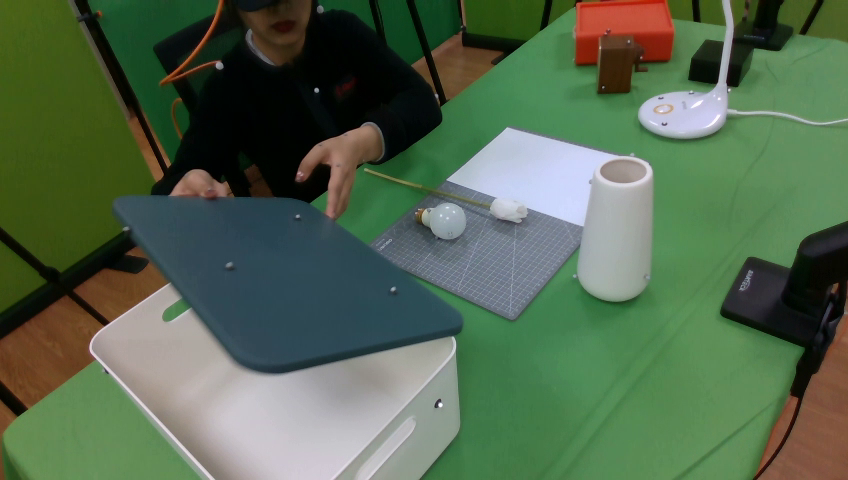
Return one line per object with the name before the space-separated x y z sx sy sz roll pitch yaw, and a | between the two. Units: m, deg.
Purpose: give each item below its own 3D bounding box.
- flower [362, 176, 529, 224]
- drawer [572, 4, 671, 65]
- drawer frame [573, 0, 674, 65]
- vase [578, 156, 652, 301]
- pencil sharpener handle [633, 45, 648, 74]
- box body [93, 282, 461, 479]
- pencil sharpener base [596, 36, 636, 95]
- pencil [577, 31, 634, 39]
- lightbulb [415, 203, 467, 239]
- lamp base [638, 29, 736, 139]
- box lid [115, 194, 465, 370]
flower | 0.024 -0.083 1.087 0.359 0.038 0.044 16 16 33
drawer | 0.461 -0.490 1.435 0.211 0.073 0.194 2 41 12
drawer frame | 0.464 -0.492 1.434 0.213 0.083 0.201 1 40 12
vase | 0.261 -0.011 0.812 0.098 0.201 0.097 -4 40 4
pencil sharpener handle | 0.454 -0.378 1.262 0.030 0.068 0.036 1 47 13
box body | -0.162 0.170 0.708 0.361 0.161 0.255 25 50 34
pencil sharpener base | 0.406 -0.369 1.280 0.076 0.107 0.061 1 41 13
pencil | 0.431 -0.489 1.443 0.012 0.012 0.192 -25 30 -18
lightbulb | 0.024 -0.034 0.998 0.060 0.060 0.107 -38 32 -30
lamp base | 0.501 -0.302 1.125 0.179 0.181 0.160 -4 40 3
box lid | -0.156 0.022 0.678 0.265 0.015 0.368 -3 26 -45
